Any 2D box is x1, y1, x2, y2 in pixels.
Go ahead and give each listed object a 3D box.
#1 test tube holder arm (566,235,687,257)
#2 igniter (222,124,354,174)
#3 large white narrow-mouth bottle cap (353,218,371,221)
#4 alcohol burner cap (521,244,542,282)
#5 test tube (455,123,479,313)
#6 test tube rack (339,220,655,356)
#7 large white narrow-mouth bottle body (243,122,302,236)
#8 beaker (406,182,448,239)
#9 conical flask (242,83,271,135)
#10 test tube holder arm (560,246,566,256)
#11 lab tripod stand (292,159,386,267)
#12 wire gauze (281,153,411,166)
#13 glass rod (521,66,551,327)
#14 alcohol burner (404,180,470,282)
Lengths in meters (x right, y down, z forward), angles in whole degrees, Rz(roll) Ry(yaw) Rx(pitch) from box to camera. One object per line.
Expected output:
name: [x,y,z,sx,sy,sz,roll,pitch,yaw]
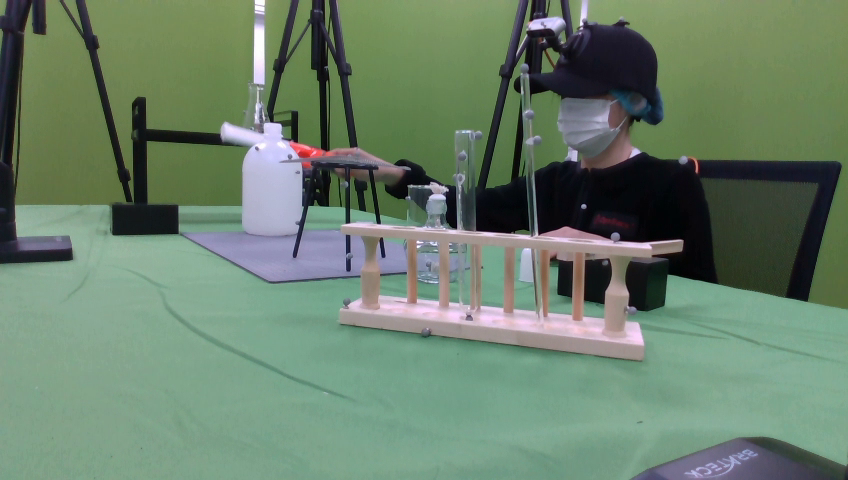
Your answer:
test tube holder arm: [0.215,0.006,0.629,0.179,0.015,0.013,-3,9,-30]
igniter: [-0.257,-0.175,1.186,0.278,0.057,0.025,11,-38,-38]
large white narrow-mouth bottle cap: [-0.120,-0.029,1.184,0.038,0.024,0.037,2,8,0]
alcohol burner cap: [0.136,0.026,0.741,0.034,0.048,0.034,1,6,0]
test tube: [0.034,-0.016,0.476,0.017,0.150,0.017,-2,10,1]
test tube rack: [0.056,0.032,0.495,0.242,0.085,0.067,4,7,15]
large white narrow-mouth bottle body: [-0.265,-0.109,1.061,0.102,0.194,0.102,2,8,0]
beaker: [0.008,-0.054,1.102,0.074,0.100,0.083,-6,12,-44]
conical flask: [-0.384,-0.297,1.393,0.075,0.122,0.075,2,7,0]
test tube holder arm: [0.173,0.007,0.611,0.088,0.015,0.010,-3,9,-30]
lab tripod stand: [-0.105,-0.039,0.797,0.148,0.131,0.148,2,5,0]
wire gauze: [-0.102,-0.105,0.785,0.121,0.011,0.126,7,8,43]
glass rod: [0.085,-0.028,0.454,0.008,0.199,0.008,-7,10,1]
alcohol burner: [0.015,-0.011,0.715,0.078,0.119,0.078,0,7,0]
